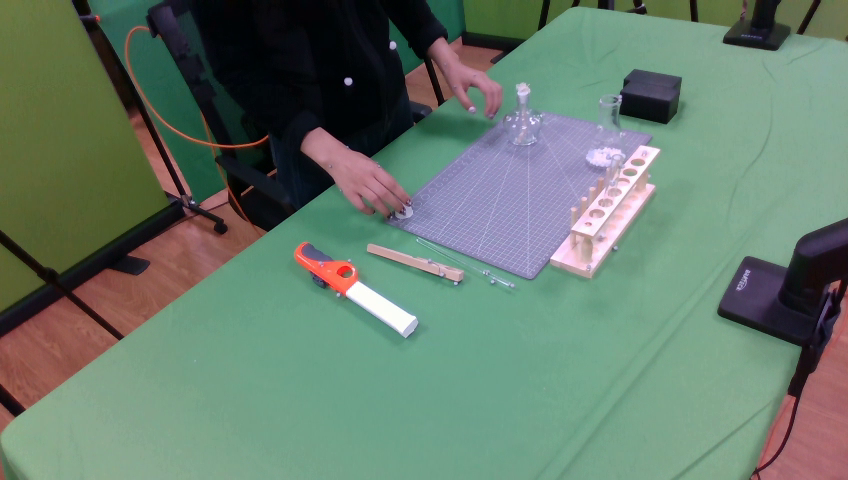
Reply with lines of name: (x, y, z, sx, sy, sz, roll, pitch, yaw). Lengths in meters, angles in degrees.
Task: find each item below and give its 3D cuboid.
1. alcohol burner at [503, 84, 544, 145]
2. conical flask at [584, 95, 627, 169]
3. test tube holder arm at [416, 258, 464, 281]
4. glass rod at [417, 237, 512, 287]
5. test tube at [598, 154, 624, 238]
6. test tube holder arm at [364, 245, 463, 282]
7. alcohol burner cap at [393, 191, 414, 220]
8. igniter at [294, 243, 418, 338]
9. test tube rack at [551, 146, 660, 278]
alcohol burner: (0.191, -0.244, 1.160, 0.078, 0.119, 0.077, -4, 40, 4)
conical flask: (0.324, -0.192, 1.066, 0.075, 0.122, 0.075, -6, 40, 5)
test tube holder arm: (0.022, 0.045, 0.931, 0.087, 0.015, 0.010, 16, 10, 27)
glass rod: (0.059, 0.033, 0.945, 0.198, 0.008, 0.008, 26, 52, 38)
test tube: (0.269, -0.059, 0.876, 0.017, 0.151, 0.017, -2, 43, 3)
test tube holder arm: (-0.020, 0.034, 0.947, 0.177, 0.015, 0.013, 16, 10, 26)
alcohol burner cap: (-0.038, -0.062, 1.045, 0.034, 0.048, 0.033, -5, 41, 5)
igniter: (-0.114, 0.070, 0.919, 0.274, 0.025, 0.057, 29, 63, 37)
test tube rack: (0.286, -0.053, 0.943, 0.066, 0.085, 0.243, 21, 49, 32)
